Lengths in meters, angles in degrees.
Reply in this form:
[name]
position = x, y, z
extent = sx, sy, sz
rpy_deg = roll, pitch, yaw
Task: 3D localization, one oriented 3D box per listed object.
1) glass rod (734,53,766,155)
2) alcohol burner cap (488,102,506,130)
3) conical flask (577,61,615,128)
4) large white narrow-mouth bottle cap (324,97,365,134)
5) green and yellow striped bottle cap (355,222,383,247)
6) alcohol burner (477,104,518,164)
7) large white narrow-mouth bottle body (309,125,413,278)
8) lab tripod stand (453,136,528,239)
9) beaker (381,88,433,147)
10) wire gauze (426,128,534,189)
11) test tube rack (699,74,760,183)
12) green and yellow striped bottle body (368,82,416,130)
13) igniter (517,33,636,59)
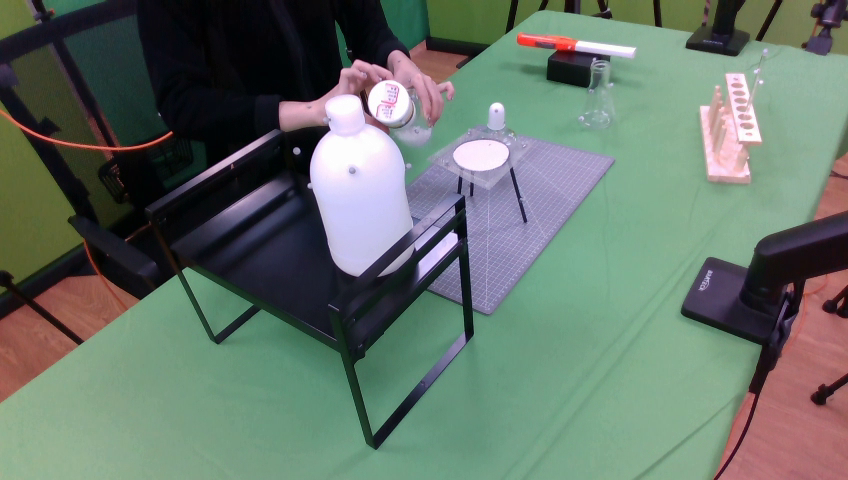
[glass rod]
position = 0.540, -0.220, 1.006
extent = 0.008, 0.201, 0.008
rpy_deg = -5, 45, 6
[alcohol burner cap]
position = 0.133, -0.227, 1.092
extent = 0.034, 0.048, 0.033
rpy_deg = -1, 47, 2
[conical flask]
position = 0.343, -0.288, 1.188
extent = 0.075, 0.122, 0.075
rpy_deg = -4, 41, 4
[large white narrow-mouth bottle cap]
position = -0.076, -0.121, 0.585
extent = 0.038, 0.024, 0.037
rpy_deg = -3, 42, 3
[green and yellow striped bottle cap]
position = -0.092, -0.009, 1.001
extent = 0.045, 0.020, 0.045
rpy_deg = -3, 39, 3
[alcohol burner]
position = 0.135, -0.200, 1.117
extent = 0.078, 0.119, 0.077
rpy_deg = -4, 43, 4
[large white narrow-mouth bottle body]
position = -0.068, -0.057, 0.644
extent = 0.102, 0.195, 0.101
rpy_deg = -3, 42, 4
[lab tripod stand]
position = 0.095, -0.086, 0.974
extent = 0.148, 0.132, 0.147
rpy_deg = -4, 43, 4
[beaker]
position = -0.027, -0.211, 1.055
extent = 0.073, 0.101, 0.084
rpy_deg = 32, 88, 18
[wire gauze]
position = 0.086, -0.131, 0.924
extent = 0.124, 0.011, 0.122
rpy_deg = 26, 52, 33
[test tube rack]
position = 0.547, -0.208, 1.095
extent = 0.066, 0.085, 0.242
rpy_deg = 6, 42, 16
[green and yellow striped bottle body]
position = -0.047, -0.208, 0.956
extent = 0.063, 0.063, 0.120
rpy_deg = -2, 4, 5
[igniter]
position = 0.336, -0.441, 1.369
extent = 0.275, 0.025, 0.057
rpy_deg = 16, 41, 23
